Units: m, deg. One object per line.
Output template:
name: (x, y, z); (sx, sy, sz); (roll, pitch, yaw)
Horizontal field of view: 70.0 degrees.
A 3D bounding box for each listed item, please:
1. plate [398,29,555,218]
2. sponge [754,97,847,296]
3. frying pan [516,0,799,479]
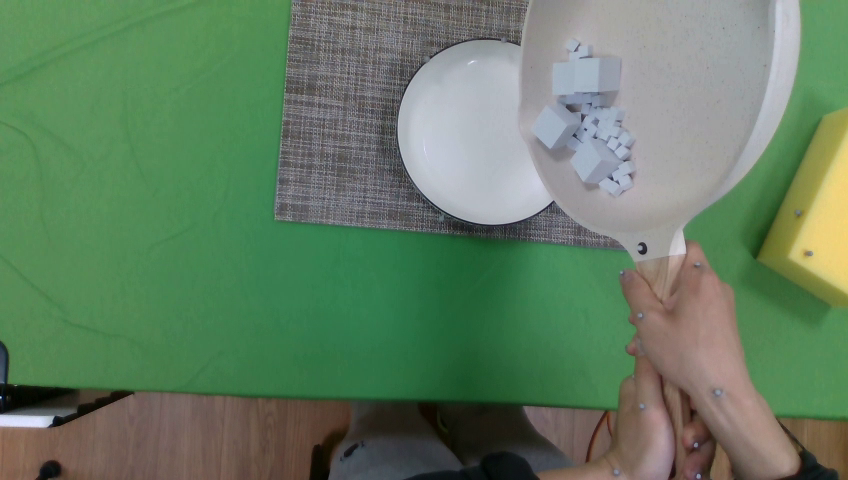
plate: (0.073, -0.126, 0.674); (0.208, 0.039, 0.207); (0, 88, -7)
sponge: (0.500, -0.051, 0.718); (0.118, 0.061, 0.206); (28, 85, -5)
frying pan: (0.185, -0.053, 0.501); (0.103, 0.306, 0.486); (1, 83, -21)
